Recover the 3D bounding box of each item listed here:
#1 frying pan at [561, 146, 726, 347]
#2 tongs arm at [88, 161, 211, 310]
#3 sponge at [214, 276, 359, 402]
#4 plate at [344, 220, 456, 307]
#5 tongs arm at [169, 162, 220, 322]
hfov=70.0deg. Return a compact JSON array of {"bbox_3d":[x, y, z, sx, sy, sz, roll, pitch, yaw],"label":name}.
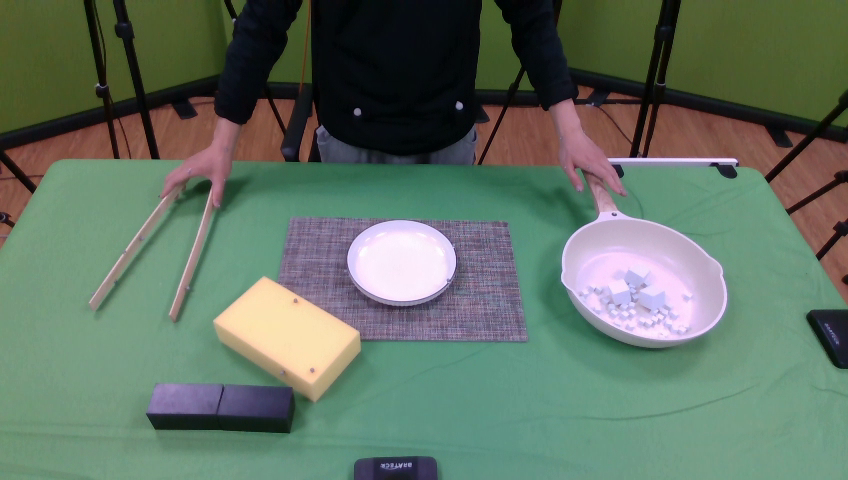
[{"bbox_3d":[0.378,-0.005,1.175,0.307,0.103,0.484,-4,55,-9],"label":"frying pan"},{"bbox_3d":[-0.512,-0.021,1.158,0.051,0.026,0.382,10,49,5],"label":"tongs arm"},{"bbox_3d":[-0.224,0.158,0.998,0.206,0.061,0.118,27,52,18],"label":"sponge"},{"bbox_3d":[-0.044,0.047,1.133,0.208,0.039,0.206,3,46,-2],"label":"plate"},{"bbox_3d":[-0.435,-0.011,1.157,0.028,0.028,0.385,-1,49,0],"label":"tongs arm"}]
